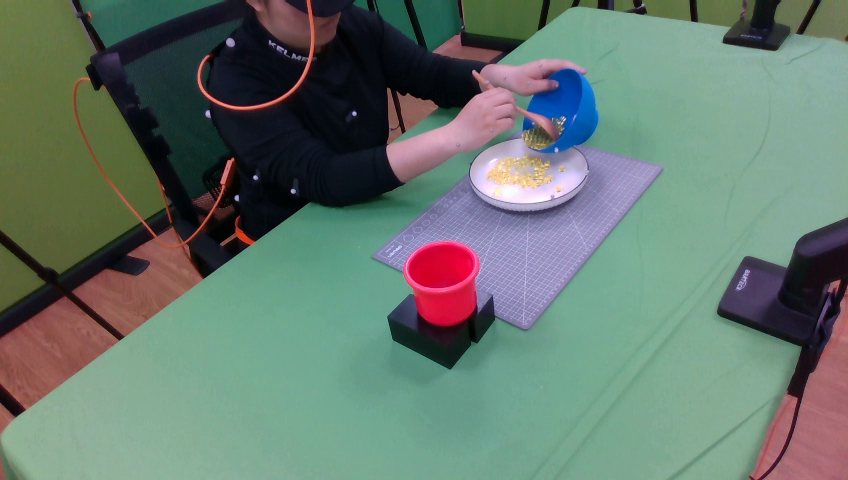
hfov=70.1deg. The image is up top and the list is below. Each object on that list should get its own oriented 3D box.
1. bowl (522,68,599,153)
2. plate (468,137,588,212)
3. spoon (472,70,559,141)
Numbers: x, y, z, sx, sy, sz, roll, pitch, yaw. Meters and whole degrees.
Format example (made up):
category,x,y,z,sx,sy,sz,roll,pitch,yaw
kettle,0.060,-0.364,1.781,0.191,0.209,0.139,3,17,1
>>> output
category,x,y,z,sx,sy,sz,roll,pitch,yaw
bowl,0.251,-0.214,1.058,0.077,0.151,0.150,18,31,-28
plate,0.182,-0.111,1.064,0.207,0.039,0.206,-5,40,5
spoon,0.159,-0.229,1.035,0.194,0.021,0.041,30,38,-11
